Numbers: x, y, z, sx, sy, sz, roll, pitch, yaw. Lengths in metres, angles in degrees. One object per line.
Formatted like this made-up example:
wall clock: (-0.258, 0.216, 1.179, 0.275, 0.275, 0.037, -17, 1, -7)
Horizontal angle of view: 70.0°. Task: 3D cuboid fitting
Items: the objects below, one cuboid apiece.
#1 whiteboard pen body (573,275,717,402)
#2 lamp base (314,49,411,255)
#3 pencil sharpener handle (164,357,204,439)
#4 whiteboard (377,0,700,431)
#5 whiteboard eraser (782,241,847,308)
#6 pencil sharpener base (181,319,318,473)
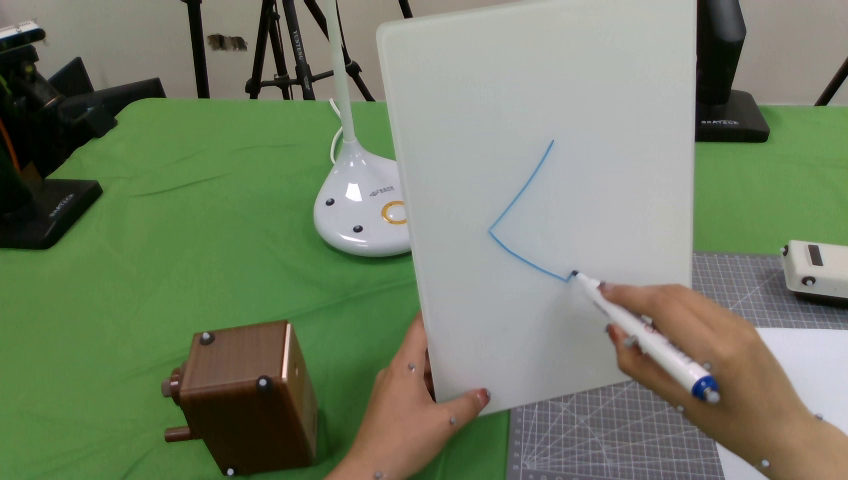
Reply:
whiteboard pen body: (0.137, 0.057, 0.398, 0.017, 0.017, 0.139, -17, 31, -14)
lamp base: (-0.059, -0.102, 0.649, 0.161, 0.182, 0.177, -30, 43, -26)
pencil sharpener handle: (-0.178, 0.117, 0.437, 0.030, 0.068, 0.035, -8, 28, -2)
whiteboard: (0.087, -0.033, 0.500, 0.217, 0.307, 0.142, -11, 21, -6)
whiteboard eraser: (0.388, 0.035, 0.544, 0.112, 0.042, 0.055, 9, 43, 16)
pencil sharpener base: (-0.126, 0.118, 0.451, 0.077, 0.108, 0.060, -8, 41, -2)
